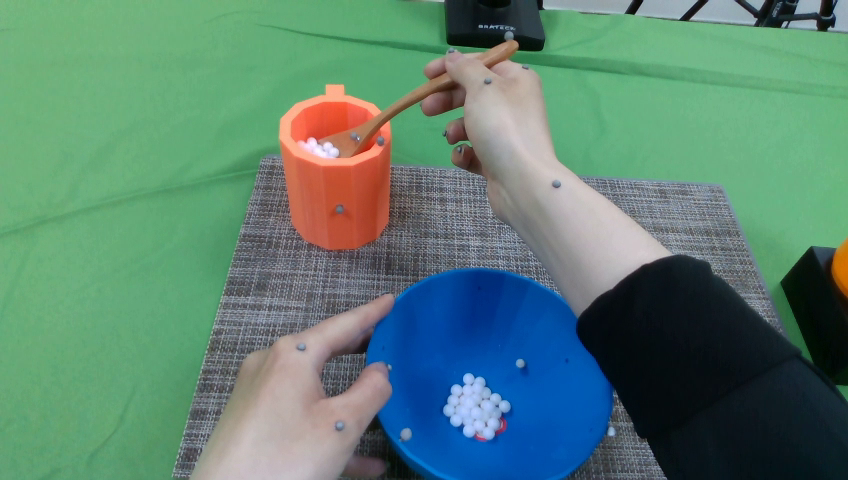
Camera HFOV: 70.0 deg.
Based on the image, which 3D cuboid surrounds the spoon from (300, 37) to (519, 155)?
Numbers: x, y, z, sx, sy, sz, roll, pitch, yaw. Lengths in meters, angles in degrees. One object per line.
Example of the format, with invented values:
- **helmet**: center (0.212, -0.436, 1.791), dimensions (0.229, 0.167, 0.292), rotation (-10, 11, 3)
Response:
- **spoon**: center (-0.018, -0.100, 0.451), dimensions (0.193, 0.022, 0.041), rotation (-26, 53, 22)

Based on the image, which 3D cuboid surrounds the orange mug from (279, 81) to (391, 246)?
- **orange mug**: center (-0.074, -0.072, 0.511), dimensions (0.083, 0.101, 0.125), rotation (-3, 55, -9)

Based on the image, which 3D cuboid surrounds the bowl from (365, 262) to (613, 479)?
- **bowl**: center (0.036, 0.097, 0.393), dimensions (0.151, 0.077, 0.150), rotation (3, 50, -3)
